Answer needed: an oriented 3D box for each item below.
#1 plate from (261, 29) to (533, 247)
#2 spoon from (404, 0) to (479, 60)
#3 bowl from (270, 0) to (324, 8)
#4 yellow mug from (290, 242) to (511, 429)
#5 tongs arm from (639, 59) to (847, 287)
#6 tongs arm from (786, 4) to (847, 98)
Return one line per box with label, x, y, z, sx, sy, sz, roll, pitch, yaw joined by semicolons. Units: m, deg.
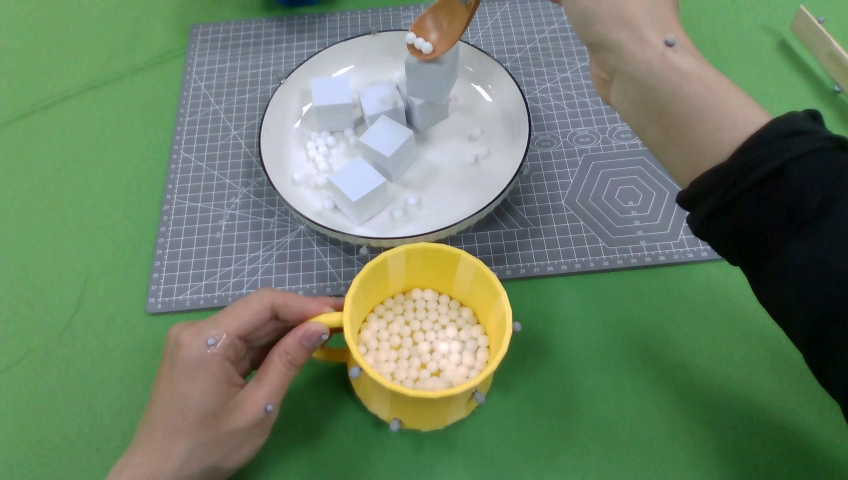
plate;-0.020;-0.081;0.477;0.207;0.039;0.206;-1;60;2
spoon;0.052;-0.178;0.374;0.022;0.194;0.041;5;62;-40
bowl;-0.126;-0.277;0.574;0.151;0.077;0.150;-2;60;3
yellow mug;-0.016;0.060;0.374;0.131;0.064;0.099;-2;58;-6
tongs arm;0.285;-0.001;0.421;0.028;0.028;0.384;-28;64;-18
tongs arm;0.359;-0.031;0.434;0.051;0.027;0.381;-17;63;-9
